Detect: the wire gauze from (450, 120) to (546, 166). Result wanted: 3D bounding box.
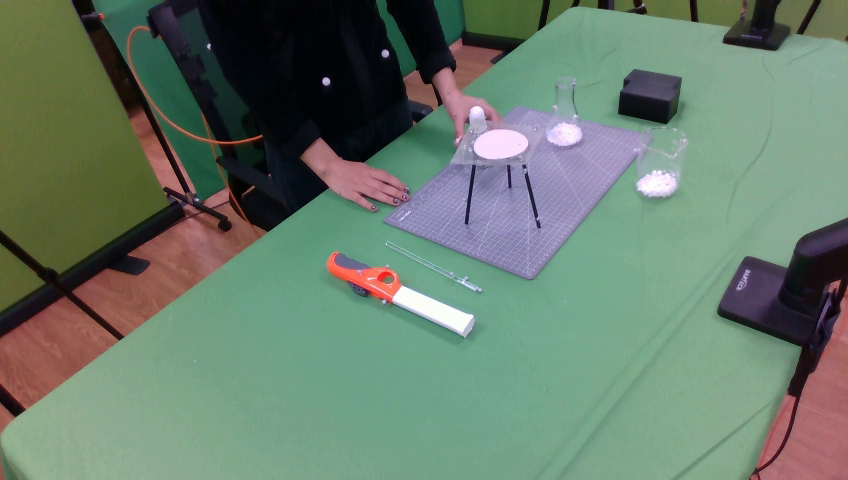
[{"bbox_3d":[0.117,-0.151,0.943,0.121,0.011,0.125,9,43,21],"label":"wire gauze"}]

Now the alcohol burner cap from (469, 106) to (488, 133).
[{"bbox_3d":[0.097,-0.220,1.094,0.034,0.048,0.033,-7,49,8],"label":"alcohol burner cap"}]

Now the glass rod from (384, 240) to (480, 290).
[{"bbox_3d":[0.009,0.037,0.949,0.198,0.008,0.008,26,52,34],"label":"glass rod"}]

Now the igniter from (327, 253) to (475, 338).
[{"bbox_3d":[-0.045,0.077,0.898,0.274,0.025,0.057,22,60,32],"label":"igniter"}]

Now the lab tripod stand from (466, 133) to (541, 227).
[{"bbox_3d":[0.129,-0.099,0.985,0.148,0.132,0.147,-7,38,6],"label":"lab tripod stand"}]

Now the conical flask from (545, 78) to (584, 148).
[{"bbox_3d":[0.264,-0.241,1.135,0.075,0.122,0.075,-6,40,5],"label":"conical flask"}]

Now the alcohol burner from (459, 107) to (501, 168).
[{"bbox_3d":[0.102,-0.195,1.119,0.078,0.120,0.077,-6,42,6],"label":"alcohol burner"}]

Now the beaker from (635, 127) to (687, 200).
[{"bbox_3d":[0.388,-0.122,0.994,0.074,0.101,0.083,-8,40,2],"label":"beaker"}]
